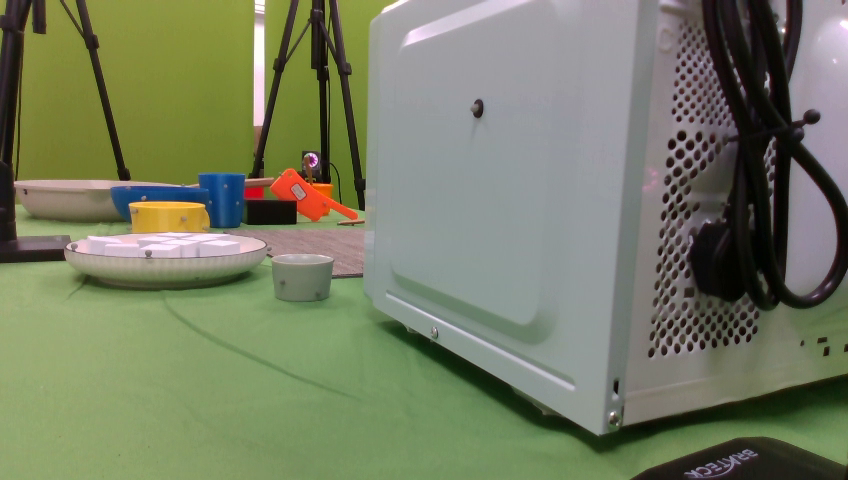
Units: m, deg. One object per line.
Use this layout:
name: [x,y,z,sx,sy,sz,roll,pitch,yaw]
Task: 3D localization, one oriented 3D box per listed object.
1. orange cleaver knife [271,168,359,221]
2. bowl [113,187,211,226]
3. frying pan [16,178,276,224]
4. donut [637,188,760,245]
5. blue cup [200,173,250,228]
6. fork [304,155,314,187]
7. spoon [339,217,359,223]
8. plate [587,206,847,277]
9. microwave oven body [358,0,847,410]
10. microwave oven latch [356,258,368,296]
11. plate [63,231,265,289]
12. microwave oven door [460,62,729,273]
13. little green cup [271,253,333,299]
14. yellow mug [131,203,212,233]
orange cleaver knife: [-0.236,-0.084,1.333,0.212,0.077,0.012,31,-10,-32]
bowl: [-0.436,-0.046,1.013,0.151,0.077,0.151,2,7,0]
frying pan: [-0.554,-0.096,1.266,0.490,0.102,0.305,-10,13,-24]
donut: [0.233,-0.019,0.519,0.099,0.048,0.099,3,4,0]
blue cup: [-0.381,-0.076,1.155,0.093,0.100,0.092,1,8,0]
fork: [-0.268,-0.134,1.447,0.028,0.018,0.207,2,-36,-1]
spoon: [-0.087,-0.041,1.268,0.193,0.021,0.041,4,24,13]
plate: [0.245,-0.002,0.512,0.209,0.038,0.209,1,8,0]
microwave oven body: [0.210,-0.051,0.471,0.444,0.260,0.324,-1,7,-28]
microwave oven latch: [-0.019,0.031,0.528,0.079,0.029,0.030,-1,7,-25]
plate: [-0.288,0.021,0.687,0.208,0.039,0.207,2,8,0]
microwave oven door: [0.203,-0.099,0.805,0.354,0.243,0.039,8,10,39]
little green cup: [-0.122,0.036,0.605,0.061,0.038,0.061,3,6,0]
yellow mug: [-0.356,-0.020,0.878,0.099,0.064,0.131,5,7,22]
